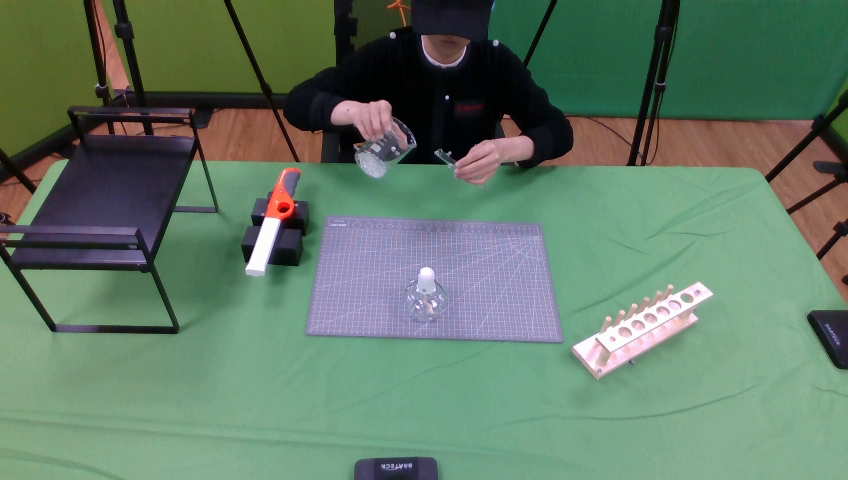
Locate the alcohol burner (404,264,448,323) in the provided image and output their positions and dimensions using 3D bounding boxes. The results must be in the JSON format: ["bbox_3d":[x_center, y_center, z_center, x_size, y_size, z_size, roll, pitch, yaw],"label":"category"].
[{"bbox_3d":[0.003,0.087,1.042,0.078,0.120,0.077,1,45,0],"label":"alcohol burner"}]

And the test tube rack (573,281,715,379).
[{"bbox_3d":[0.378,0.140,1.038,0.242,0.085,0.066,-22,51,-23],"label":"test tube rack"}]

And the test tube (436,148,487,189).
[{"bbox_3d":[0.077,-0.138,1.190,0.017,0.151,0.017,-24,51,34],"label":"test tube"}]

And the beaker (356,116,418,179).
[{"bbox_3d":[-0.069,-0.167,1.120,0.084,0.100,0.073,26,34,-41],"label":"beaker"}]

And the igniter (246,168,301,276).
[{"bbox_3d":[-0.282,-0.044,1.149,0.057,0.025,0.275,8,48,-1],"label":"igniter"}]

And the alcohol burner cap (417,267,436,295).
[{"bbox_3d":[0.004,0.066,1.019,0.034,0.048,0.033,0,47,1],"label":"alcohol burner cap"}]
